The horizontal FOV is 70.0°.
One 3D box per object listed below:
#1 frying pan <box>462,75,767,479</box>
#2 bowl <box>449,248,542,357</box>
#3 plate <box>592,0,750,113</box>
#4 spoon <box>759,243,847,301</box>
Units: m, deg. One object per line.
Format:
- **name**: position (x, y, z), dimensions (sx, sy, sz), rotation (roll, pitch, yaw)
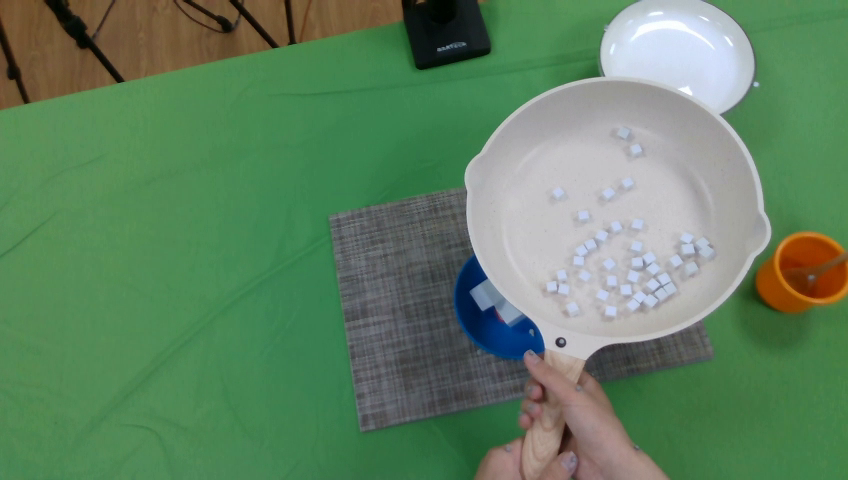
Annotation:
- **frying pan**: position (0.154, 0.056, 0.610), dimensions (0.305, 0.103, 0.485), rotation (15, 68, 18)
- **bowl**: position (0.106, 0.076, 0.754), dimensions (0.151, 0.077, 0.150), rotation (-1, 70, 2)
- **plate**: position (0.335, -0.249, 0.835), dimensions (0.207, 0.039, 0.206), rotation (-1, 71, 3)
- **spoon**: position (0.493, 0.016, 0.721), dimensions (0.022, 0.194, 0.041), rotation (-5, 61, -46)
